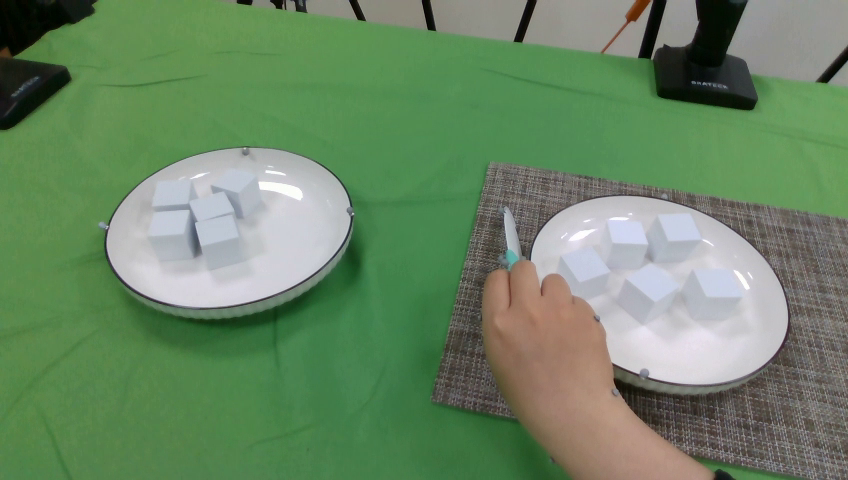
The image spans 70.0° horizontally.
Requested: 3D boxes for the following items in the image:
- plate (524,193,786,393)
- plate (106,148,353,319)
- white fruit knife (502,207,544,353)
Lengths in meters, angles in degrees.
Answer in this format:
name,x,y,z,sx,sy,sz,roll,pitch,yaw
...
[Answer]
name,x,y,z,sx,sy,sz,roll,pitch,yaw
plate,0.186,0.041,0.510,0.208,0.039,0.205,2,45,-1
plate,-0.167,-0.007,0.543,0.209,0.038,0.207,2,44,-2
white fruit knife,0.077,0.020,0.510,0.027,0.016,0.205,44,22,-20
